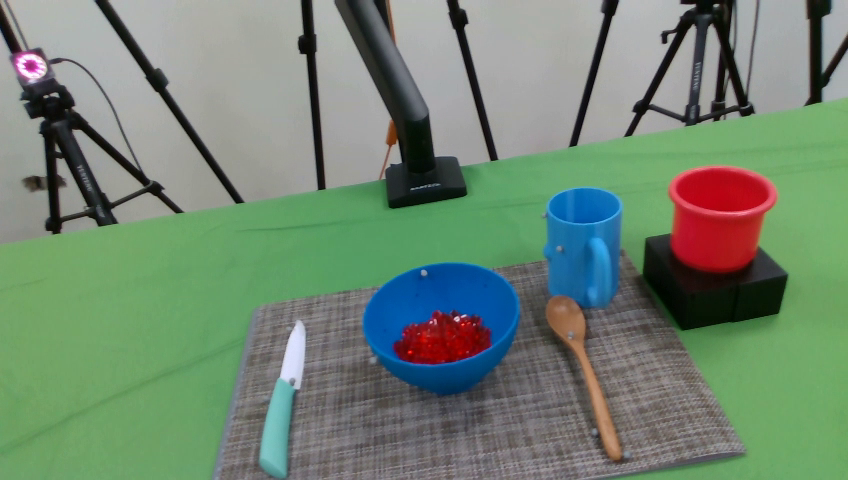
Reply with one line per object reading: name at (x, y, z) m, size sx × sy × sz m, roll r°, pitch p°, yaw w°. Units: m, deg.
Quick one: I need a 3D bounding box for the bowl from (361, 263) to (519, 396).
bowl at (0.020, 0.098, 0.592) m, size 0.151 × 0.077 × 0.150 m, roll -6°, pitch 34°, yaw 5°

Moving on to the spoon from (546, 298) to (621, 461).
spoon at (0.152, 0.123, 0.573) m, size 0.042 × 0.022 × 0.192 m, roll 7°, pitch 32°, yaw -8°

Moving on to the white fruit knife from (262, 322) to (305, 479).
white fruit knife at (-0.138, 0.150, 0.613) m, size 0.027 × 0.016 × 0.205 m, roll 17°, pitch 29°, yaw -14°

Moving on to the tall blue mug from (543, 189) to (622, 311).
tall blue mug at (0.180, 0.016, 0.646) m, size 0.078 × 0.109 × 0.106 m, roll -25°, pitch 36°, yaw -23°
